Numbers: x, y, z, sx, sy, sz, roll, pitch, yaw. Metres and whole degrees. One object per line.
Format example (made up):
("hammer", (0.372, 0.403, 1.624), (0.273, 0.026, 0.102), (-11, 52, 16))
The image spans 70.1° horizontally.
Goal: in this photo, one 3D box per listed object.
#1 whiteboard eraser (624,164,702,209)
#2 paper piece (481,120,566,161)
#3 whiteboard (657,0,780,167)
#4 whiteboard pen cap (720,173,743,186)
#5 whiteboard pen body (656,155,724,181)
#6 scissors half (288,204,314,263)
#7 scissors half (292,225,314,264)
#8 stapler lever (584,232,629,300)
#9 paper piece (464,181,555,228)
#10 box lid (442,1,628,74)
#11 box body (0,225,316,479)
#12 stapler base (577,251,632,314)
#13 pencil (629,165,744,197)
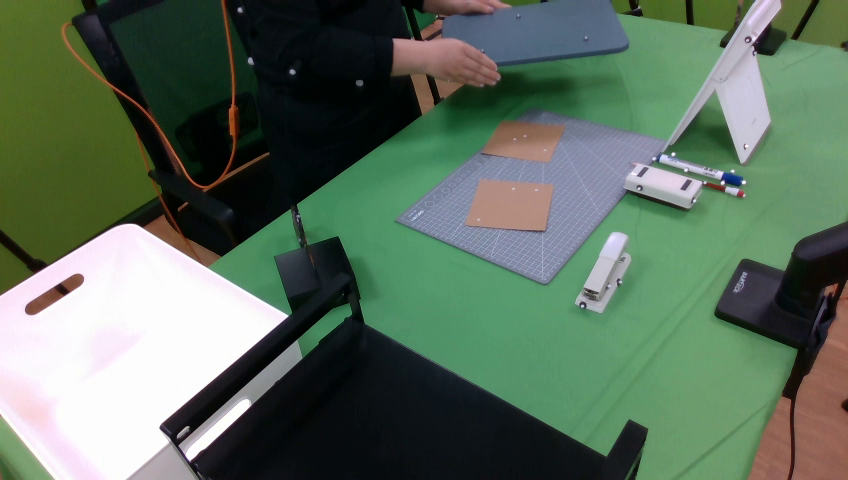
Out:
("whiteboard eraser", (0.396, -0.087, 1.003), (0.112, 0.042, 0.056), (22, 47, 31))
("paper piece", (0.197, -0.199, 1.188), (0.135, 0.004, 0.135), (11, 43, 21))
("whiteboard", (0.571, -0.272, 1.038), (0.143, 0.306, 0.218), (37, 54, 17))
("whiteboard pen cap", (0.519, -0.103, 1.020), (0.033, 0.018, 0.018), (23, 49, 30))
("whiteboard pen body", (0.475, -0.123, 1.052), (0.139, 0.017, 0.017), (24, 49, 32))
("scissors half", (-0.191, -0.010, 0.944), (0.013, 0.040, 0.173), (-17, 38, -15))
("scissors half", (-0.188, 0.007, 0.955), (0.013, 0.040, 0.174), (-21, 22, -12))
("stapler lever", (0.260, 0.034, 0.858), (0.026, 0.040, 0.118), (16, 46, 30))
("paper piece", (0.149, -0.062, 1.034), (0.137, 0.009, 0.136), (4, 37, 17))
("box lid", (0.222, -0.429, 1.270), (0.371, 0.015, 0.262), (-5, 42, 5))
("box body", (-0.339, 0.162, 0.728), (0.361, 0.161, 0.255), (23, 48, 31))
("stapler base", (0.264, 0.051, 0.875), (0.041, 0.024, 0.131), (16, 47, 30))
("pencil", (0.447, -0.103, 1.038), (0.192, 0.012, 0.012), (21, 48, 29))
